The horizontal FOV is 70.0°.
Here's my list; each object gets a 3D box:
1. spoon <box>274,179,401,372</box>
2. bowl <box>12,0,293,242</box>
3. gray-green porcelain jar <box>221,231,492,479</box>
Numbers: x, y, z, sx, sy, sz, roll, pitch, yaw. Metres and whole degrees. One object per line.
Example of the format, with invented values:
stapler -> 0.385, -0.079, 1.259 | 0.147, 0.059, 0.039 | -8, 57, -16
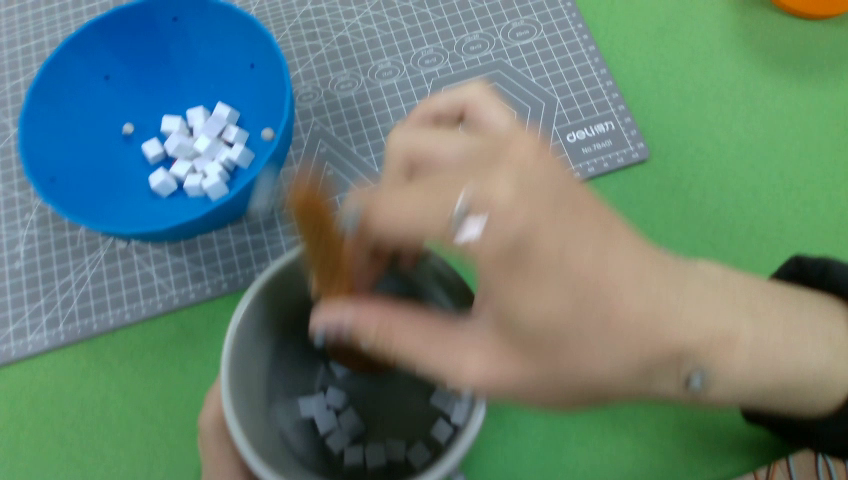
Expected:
spoon -> -0.031, 0.027, 0.238 | 0.041, 0.195, 0.021 | 1, 70, -1
bowl -> -0.145, -0.060, 0.362 | 0.151, 0.077, 0.150 | -1, 70, 3
gray-green porcelain jar -> -0.023, 0.066, 0.289 | 0.106, 0.127, 0.105 | -1, 70, 3
